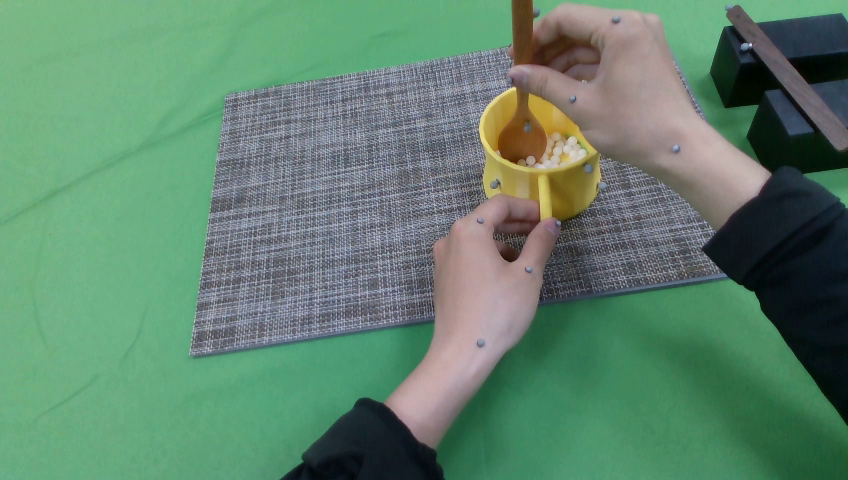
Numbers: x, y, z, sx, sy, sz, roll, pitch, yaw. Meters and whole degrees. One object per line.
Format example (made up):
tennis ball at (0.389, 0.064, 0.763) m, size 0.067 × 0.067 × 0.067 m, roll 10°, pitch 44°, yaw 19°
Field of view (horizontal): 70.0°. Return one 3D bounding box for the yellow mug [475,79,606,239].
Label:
yellow mug at (0.093, -0.061, 0.486) m, size 0.100 × 0.064 × 0.129 m, roll -2°, pitch 56°, yaw 8°

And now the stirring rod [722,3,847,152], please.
stirring rod at (0.286, -0.136, 0.485) m, size 0.014 × 0.006 × 0.174 m, roll -36°, pitch 50°, yaw 28°

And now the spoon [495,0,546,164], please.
spoon at (0.070, -0.109, 0.436) m, size 0.041 × 0.195 × 0.021 m, roll 3°, pitch 70°, yaw 10°
